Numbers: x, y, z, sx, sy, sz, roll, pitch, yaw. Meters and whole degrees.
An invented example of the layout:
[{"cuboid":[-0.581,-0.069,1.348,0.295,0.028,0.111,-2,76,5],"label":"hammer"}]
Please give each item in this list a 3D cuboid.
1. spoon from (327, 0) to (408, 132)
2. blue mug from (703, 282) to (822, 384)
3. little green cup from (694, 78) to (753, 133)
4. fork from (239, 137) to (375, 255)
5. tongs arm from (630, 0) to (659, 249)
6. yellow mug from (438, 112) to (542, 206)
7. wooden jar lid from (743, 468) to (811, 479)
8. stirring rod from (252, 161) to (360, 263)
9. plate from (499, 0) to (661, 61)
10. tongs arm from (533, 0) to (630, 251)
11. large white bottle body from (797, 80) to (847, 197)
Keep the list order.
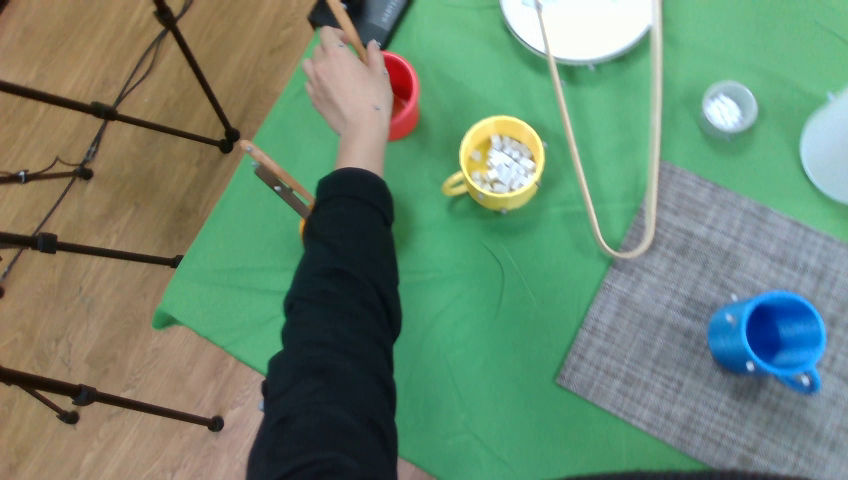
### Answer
[{"cuboid":[-0.072,-0.220,0.742,0.041,0.021,0.195,-29,121,-1],"label":"spoon"},{"cuboid":[0.370,0.105,0.651,0.082,0.106,0.116,-37,78,-1],"label":"blue mug"},{"cuboid":[0.362,-0.161,0.738,0.061,0.039,0.061,-1,80,6],"label":"little green cup"},{"cuboid":[-0.134,-0.049,0.714,0.028,0.018,0.209,-50,122,-5],"label":"fork"},{"cuboid":[0.269,-0.181,0.735,0.028,0.028,0.387,3,87,-1],"label":"tongs arm"},{"cuboid":[0.078,-0.091,0.742,0.131,0.064,0.099,-25,78,2],"label":"yellow mug"},{"cuboid":[0.386,0.303,0.659,0.108,0.021,0.108,-1,82,9],"label":"wooden jar lid"},{"cuboid":[-0.135,-0.029,0.713,0.006,0.178,0.014,10,60,52],"label":"stirring rod"},{"cuboid":[0.200,-0.325,0.786,0.207,0.039,0.207,-1,80,6],"label":"plate"},{"cuboid":[0.185,-0.172,0.739,0.051,0.026,0.384,-11,86,1],"label":"tongs arm"},{"cuboid":[0.504,-0.129,0.642,0.130,0.185,0.130,-1,79,6],"label":"large white bottle body"}]
